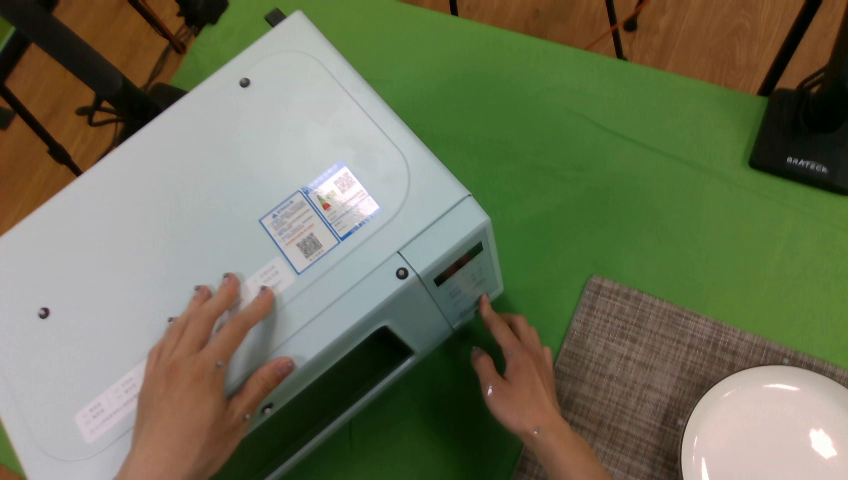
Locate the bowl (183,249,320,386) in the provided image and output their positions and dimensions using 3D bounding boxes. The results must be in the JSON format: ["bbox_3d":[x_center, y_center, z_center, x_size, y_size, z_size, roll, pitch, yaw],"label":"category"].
[{"bbox_3d":[-0.178,0.094,0.675,0.151,0.077,0.150,-4,66,10],"label":"bowl"}]

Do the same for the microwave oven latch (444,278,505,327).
[{"bbox_3d":[0.058,0.066,0.707,0.079,0.030,0.030,-37,69,-3],"label":"microwave oven latch"}]

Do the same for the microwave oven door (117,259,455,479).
[{"bbox_3d":[-0.131,0.168,0.596,0.356,0.246,0.039,-39,68,-5],"label":"microwave oven door"}]

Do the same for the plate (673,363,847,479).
[{"bbox_3d":[0.359,0.231,0.611,0.207,0.039,0.206,-3,70,9],"label":"plate"}]

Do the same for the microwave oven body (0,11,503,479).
[{"bbox_3d":[-0.186,0.040,0.656,0.441,0.262,0.323,-39,69,-4],"label":"microwave oven body"}]
